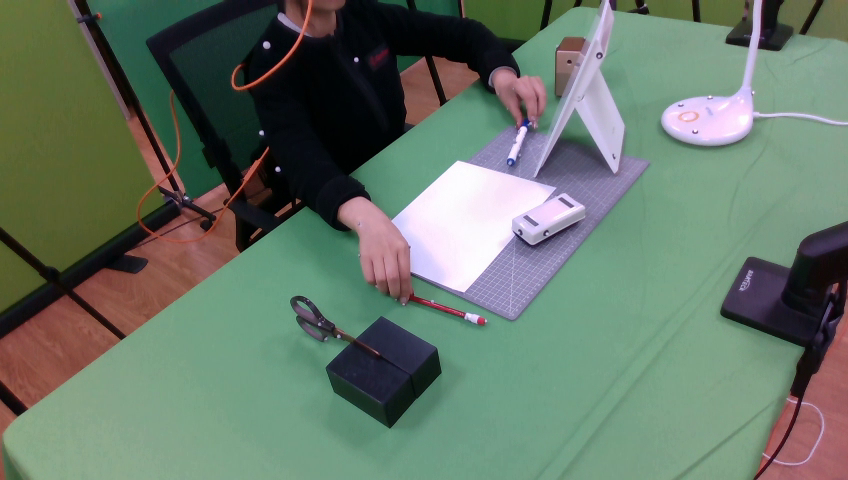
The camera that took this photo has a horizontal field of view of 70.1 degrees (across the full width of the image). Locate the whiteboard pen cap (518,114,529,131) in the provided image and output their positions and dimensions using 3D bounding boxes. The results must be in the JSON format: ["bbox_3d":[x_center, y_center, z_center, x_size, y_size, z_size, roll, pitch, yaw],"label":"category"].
[{"bbox_3d":[0.197,-0.231,1.197,0.018,0.018,0.033,-12,80,-4],"label":"whiteboard pen cap"}]

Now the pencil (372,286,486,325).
[{"bbox_3d":[0.002,0.092,0.882,0.192,0.012,0.012,15,46,28],"label":"pencil"}]

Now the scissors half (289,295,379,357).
[{"bbox_3d":[-0.122,0.114,0.803,0.174,0.040,0.013,26,50,32],"label":"scissors half"}]

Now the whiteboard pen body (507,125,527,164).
[{"bbox_3d":[0.182,-0.190,1.161,0.017,0.017,0.140,8,44,19],"label":"whiteboard pen body"}]

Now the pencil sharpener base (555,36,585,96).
[{"bbox_3d":[0.317,-0.371,1.290,0.061,0.107,0.076,10,44,22],"label":"pencil sharpener base"}]

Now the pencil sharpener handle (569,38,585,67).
[{"bbox_3d":[0.332,-0.413,1.317,0.036,0.068,0.030,19,46,13],"label":"pencil sharpener handle"}]

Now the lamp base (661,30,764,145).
[{"bbox_3d":[0.535,-0.287,1.096,0.179,0.181,0.159,-10,40,-4],"label":"lamp base"}]

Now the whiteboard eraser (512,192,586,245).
[{"bbox_3d":[0.199,-0.032,0.962,0.113,0.042,0.055,-27,43,-20],"label":"whiteboard eraser"}]

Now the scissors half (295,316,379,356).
[{"bbox_3d":[-0.119,0.131,0.813,0.173,0.040,0.013,9,34,45],"label":"scissors half"}]

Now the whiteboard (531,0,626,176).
[{"bbox_3d":[0.321,-0.258,1.050,0.144,0.306,0.217,22,45,5],"label":"whiteboard"}]
